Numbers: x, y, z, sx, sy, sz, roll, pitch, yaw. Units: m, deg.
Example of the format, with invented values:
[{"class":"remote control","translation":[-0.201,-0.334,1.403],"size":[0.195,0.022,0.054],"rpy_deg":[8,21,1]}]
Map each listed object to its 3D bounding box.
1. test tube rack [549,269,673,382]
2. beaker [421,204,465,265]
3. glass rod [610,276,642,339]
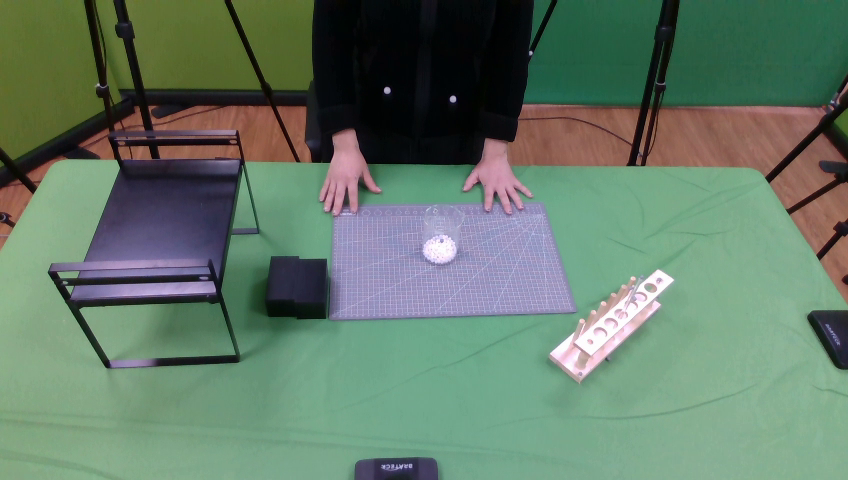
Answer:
[{"class":"test tube rack","translation":[0.325,0.134,1.047],"size":[0.242,0.085,0.066],"rpy_deg":[-32,55,-30]},{"class":"beaker","translation":[0.034,-0.008,1.151],"size":[0.084,0.101,0.073],"rpy_deg":[-10,48,-13]},{"class":"glass rod","translation":[0.322,0.113,0.976],"size":[0.008,0.201,0.008],"rpy_deg":[-1,54,1]}]
